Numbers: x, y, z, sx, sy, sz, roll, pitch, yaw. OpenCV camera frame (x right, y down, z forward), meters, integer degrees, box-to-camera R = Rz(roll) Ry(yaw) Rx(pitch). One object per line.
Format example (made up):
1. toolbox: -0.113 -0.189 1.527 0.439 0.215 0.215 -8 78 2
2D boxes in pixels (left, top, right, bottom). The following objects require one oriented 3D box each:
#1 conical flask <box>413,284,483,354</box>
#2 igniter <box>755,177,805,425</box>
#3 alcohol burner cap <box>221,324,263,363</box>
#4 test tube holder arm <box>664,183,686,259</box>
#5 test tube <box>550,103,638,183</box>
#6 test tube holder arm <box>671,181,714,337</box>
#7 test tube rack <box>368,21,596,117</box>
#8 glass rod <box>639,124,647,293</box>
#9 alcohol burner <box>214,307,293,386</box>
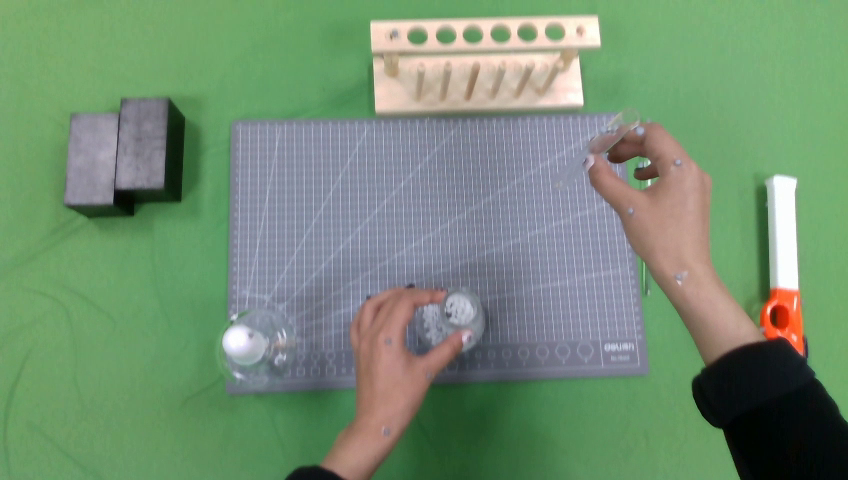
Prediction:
1. conical flask: 0.028 0.074 0.600 0.075 0.122 0.075 1 78 -3
2. igniter: 0.394 0.064 0.673 0.057 0.025 0.275 8 78 -12
3. alcohol burner cap: -0.168 0.092 0.553 0.034 0.048 0.033 1 69 -2
4. test tube holder arm: 0.289 -0.022 0.691 0.010 0.015 0.087 -15 78 31
5. test tube: 0.138 -0.077 0.512 0.017 0.150 0.017 2 77 -8
6. test tube holder arm: 0.301 0.020 0.680 0.013 0.015 0.177 -17 77 31
7. test tube rack: 0.061 -0.189 0.677 0.242 0.085 0.066 -2 78 -4
8. glass rod: 0.251 -0.038 0.694 0.008 0.008 0.199 5 80 -2
9. alcohol burner: -0.169 0.102 0.587 0.078 0.119 0.077 0 77 -1
